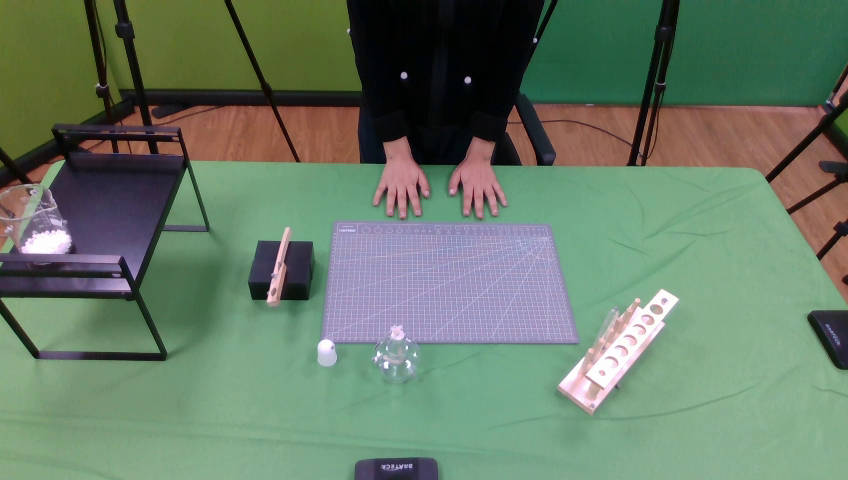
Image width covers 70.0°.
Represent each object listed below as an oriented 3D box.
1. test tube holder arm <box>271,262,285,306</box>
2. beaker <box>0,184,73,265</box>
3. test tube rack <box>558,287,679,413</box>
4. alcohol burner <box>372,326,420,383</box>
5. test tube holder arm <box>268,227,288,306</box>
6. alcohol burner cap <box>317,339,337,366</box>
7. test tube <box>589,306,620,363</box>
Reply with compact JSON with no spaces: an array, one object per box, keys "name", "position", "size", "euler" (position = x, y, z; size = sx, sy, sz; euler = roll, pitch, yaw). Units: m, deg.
[{"name":"test tube holder arm","position":[-0.250,0.075,1.040],"size":[0.010,0.015,0.087],"euler":[-5,46,2]},{"name":"beaker","position":[-0.556,-0.019,0.871],"size":[0.084,0.101,0.073],"euler":[3,46,-2]},{"name":"test tube rack","position":[0.326,0.170,1.009],"size":[0.066,0.085,0.242],"euler":[36,54,27]},{"name":"alcohol burner","position":[-0.045,0.174,0.961],"size":[0.078,0.120,0.077],"euler":[1,47,-1]},{"name":"test tube holder arm","position":[-0.258,0.043,1.071],"size":[0.013,0.015,0.177],"euler":[-6,46,2]},{"name":"alcohol burner cap","position":[-0.161,0.182,0.995],"size":[0.034,0.048,0.033],"euler":[2,47,-2]},{"name":"test tube","position":[0.284,0.152,0.961],"size":[0.017,0.151,0.017],"euler":[2,49,-2]}]
